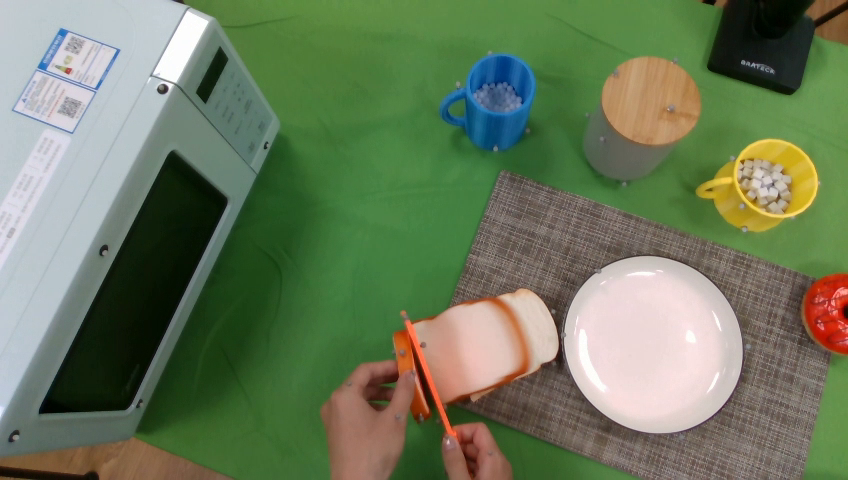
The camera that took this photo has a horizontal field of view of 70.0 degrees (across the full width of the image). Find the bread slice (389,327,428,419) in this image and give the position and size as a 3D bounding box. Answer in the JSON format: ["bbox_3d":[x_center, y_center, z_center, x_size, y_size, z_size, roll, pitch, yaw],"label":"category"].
[{"bbox_3d":[-0.017,0.146,0.681,0.018,0.135,0.106,-16,75,-2],"label":"bread slice"}]

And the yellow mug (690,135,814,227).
[{"bbox_3d":[0.398,-0.070,0.749,0.131,0.064,0.099,-3,77,2],"label":"yellow mug"}]

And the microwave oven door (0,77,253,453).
[{"bbox_3d":[-0.303,0.038,0.637,0.039,0.245,0.354,20,78,7],"label":"microwave oven door"}]

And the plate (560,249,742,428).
[{"bbox_3d":[0.264,0.115,0.721,0.207,0.039,0.206,0,77,2],"label":"plate"}]

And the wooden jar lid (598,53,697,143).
[{"bbox_3d":[0.247,-0.156,0.678,0.108,0.021,0.108,0,75,2],"label":"wooden jar lid"}]

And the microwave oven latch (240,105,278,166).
[{"bbox_3d":[-0.217,-0.138,0.779,0.030,0.029,0.079,24,79,7],"label":"microwave oven latch"}]

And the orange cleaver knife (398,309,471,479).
[{"bbox_3d":[0.012,0.174,0.655,0.012,0.077,0.211,-21,88,-7],"label":"orange cleaver knife"}]

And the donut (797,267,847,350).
[{"bbox_3d":[0.495,0.081,0.718,0.099,0.048,0.098,0,78,2],"label":"donut"}]

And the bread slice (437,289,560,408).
[{"bbox_3d":[0.097,0.123,0.726,0.131,0.019,0.104,-30,87,-4],"label":"bread slice"}]

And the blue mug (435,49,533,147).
[{"bbox_3d":[0.072,-0.174,0.762,0.116,0.106,0.082,-6,76,1],"label":"blue mug"}]

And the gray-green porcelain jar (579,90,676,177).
[{"bbox_3d":[0.250,-0.141,0.739,0.106,0.127,0.105,0,77,2],"label":"gray-green porcelain jar"}]

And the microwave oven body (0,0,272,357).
[{"bbox_3d":[-0.423,-0.050,0.666,0.325,0.261,0.440,20,79,6],"label":"microwave oven body"}]
